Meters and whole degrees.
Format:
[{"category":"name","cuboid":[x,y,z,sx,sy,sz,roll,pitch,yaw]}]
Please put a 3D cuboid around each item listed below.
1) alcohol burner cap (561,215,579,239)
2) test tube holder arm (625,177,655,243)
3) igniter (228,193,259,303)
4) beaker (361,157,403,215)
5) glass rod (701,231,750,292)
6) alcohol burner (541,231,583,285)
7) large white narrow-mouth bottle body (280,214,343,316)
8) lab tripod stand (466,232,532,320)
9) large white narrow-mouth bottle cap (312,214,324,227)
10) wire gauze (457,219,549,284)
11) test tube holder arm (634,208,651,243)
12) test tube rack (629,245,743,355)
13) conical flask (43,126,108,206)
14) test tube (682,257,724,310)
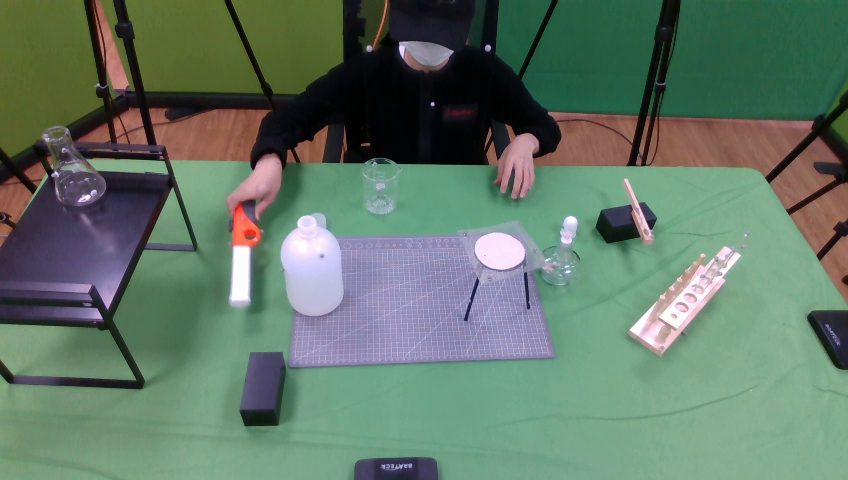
[{"category":"alcohol burner cap","cuboid":[0.299,-0.030,1.230,0.034,0.048,0.033,1,46,0]},{"category":"test tube holder arm","cuboid":[0.433,-0.063,1.220,0.013,0.015,0.177,1,47,-3]},{"category":"igniter","cuboid":[-0.334,0.004,1.113,0.057,0.025,0.274,2,43,-15]},{"category":"beaker","cuboid":[-0.086,-0.108,1.241,0.084,0.101,0.073,-8,47,-13]},{"category":"glass rod","cuboid":[0.519,0.045,1.050,0.008,0.201,0.008,0,55,0]},{"category":"alcohol burner","cuboid":[0.258,0.028,1.123,0.078,0.120,0.077,1,47,-1]},{"category":"large white narrow-mouth bottle body","cuboid":[-0.190,0.035,1.025,0.102,0.195,0.101,2,46,-2]},{"category":"lab tripod stand","cuboid":[0.125,0.059,1.065,0.148,0.132,0.147,1,45,0]},{"category":"large white narrow-mouth bottle cap","cuboid":[-0.219,-0.033,1.214,0.038,0.024,0.037,2,46,-2]},{"category":"wire gauze","cuboid":[0.131,0.014,1.016,0.121,0.011,0.124,-12,47,-14]},{"category":"test tube holder arm","cuboid":[0.428,-0.030,1.189,0.010,0.015,0.087,1,47,-2]},{"category":"test tube rack","cuboid":[0.474,0.095,1.091,0.242,0.085,0.066,-34,56,-31]},{"category":"conical flask","cuboid":[-0.555,-0.119,0.953,0.075,0.122,0.075,2,46,-2]},{"category":"test tube","cuboid":[0.475,0.080,1.037,0.017,0.151,0.017,2,51,-2]}]
